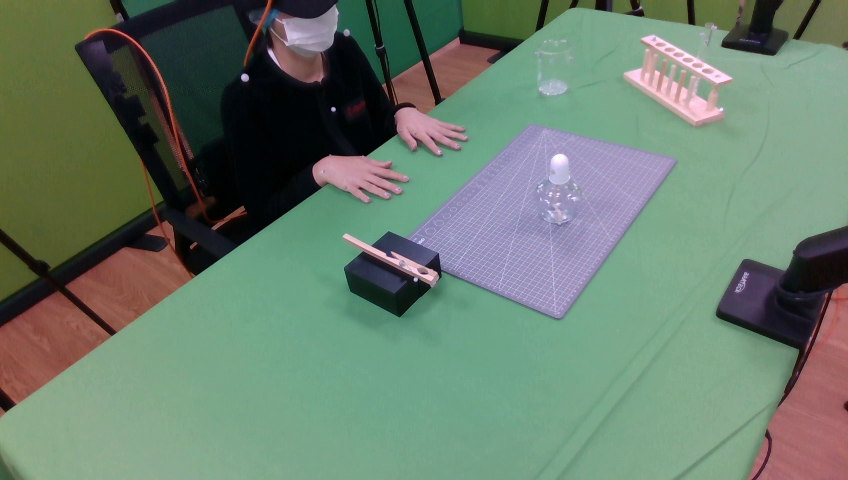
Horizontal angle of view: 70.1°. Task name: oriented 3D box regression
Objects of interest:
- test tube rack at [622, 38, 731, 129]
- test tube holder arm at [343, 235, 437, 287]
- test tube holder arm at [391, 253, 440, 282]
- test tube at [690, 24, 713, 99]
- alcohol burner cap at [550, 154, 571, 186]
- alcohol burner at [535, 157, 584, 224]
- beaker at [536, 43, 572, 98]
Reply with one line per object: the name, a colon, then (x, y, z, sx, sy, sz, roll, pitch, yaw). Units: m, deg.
test tube rack: (0.506, -0.325, 1.234, 0.067, 0.085, 0.240, -18, 41, -11)
test tube holder arm: (-0.053, 0.028, 0.879, 0.177, 0.015, 0.013, 22, 57, 32)
test tube holder arm: (-0.015, 0.039, 0.858, 0.087, 0.015, 0.010, 23, 57, 32)
test tube: (0.534, -0.342, 1.173, 0.017, 0.151, 0.017, -3, 41, 3)
alcohol burner cap: (0.212, -0.112, 0.944, 0.034, 0.048, 0.033, -7, 44, 7)
alcohol burner: (0.217, -0.085, 0.967, 0.078, 0.119, 0.077, -3, 41, 3)
beaker: (0.280, -0.368, 1.311, 0.074, 0.101, 0.084, 4, 41, 14)
